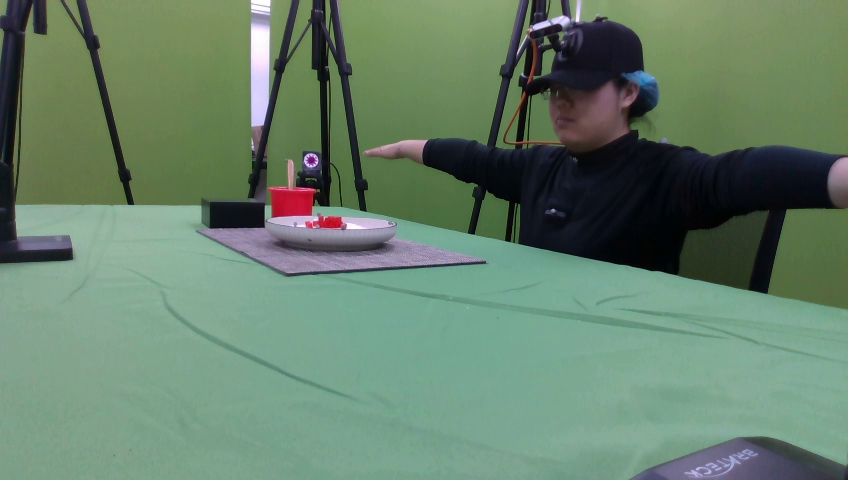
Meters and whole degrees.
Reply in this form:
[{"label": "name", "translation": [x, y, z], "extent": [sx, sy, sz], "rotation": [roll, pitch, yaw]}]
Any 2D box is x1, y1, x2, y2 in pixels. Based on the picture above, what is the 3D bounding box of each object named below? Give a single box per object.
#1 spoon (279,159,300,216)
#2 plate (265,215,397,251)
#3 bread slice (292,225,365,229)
[{"label": "spoon", "translation": [-0.282, -0.108, 1.276], "extent": [0.042, 0.021, 0.193], "rotation": [-1, 52, -10]}, {"label": "plate", "translation": [-0.147, -0.012, 0.963], "extent": [0.209, 0.038, 0.209], "rotation": [3, 7, 0]}, {"label": "bread slice", "translation": [-0.154, -0.012, 0.973], "extent": [0.132, 0.019, 0.104], "rotation": [-1, 7, -31]}]
